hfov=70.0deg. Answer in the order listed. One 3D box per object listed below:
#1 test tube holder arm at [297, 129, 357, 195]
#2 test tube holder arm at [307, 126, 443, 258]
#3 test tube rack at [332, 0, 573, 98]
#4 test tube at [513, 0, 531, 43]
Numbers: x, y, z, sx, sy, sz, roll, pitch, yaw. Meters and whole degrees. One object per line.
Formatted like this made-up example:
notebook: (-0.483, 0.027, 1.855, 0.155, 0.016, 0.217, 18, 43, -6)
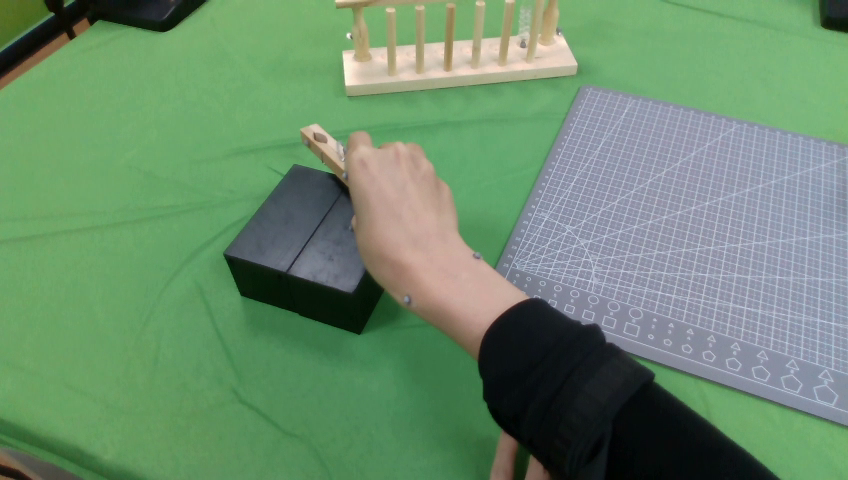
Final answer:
test tube holder arm: (-0.073, -0.062, 0.471, 0.010, 0.015, 0.087, -31, 50, -22)
test tube holder arm: (-0.042, -0.041, 0.447, 0.013, 0.015, 0.176, -31, 50, -22)
test tube rack: (0.033, -0.212, 0.622, 0.243, 0.086, 0.066, -7, 49, -5)
test tube: (0.101, -0.268, 0.603, 0.017, 0.151, 0.017, -1, 46, 2)
